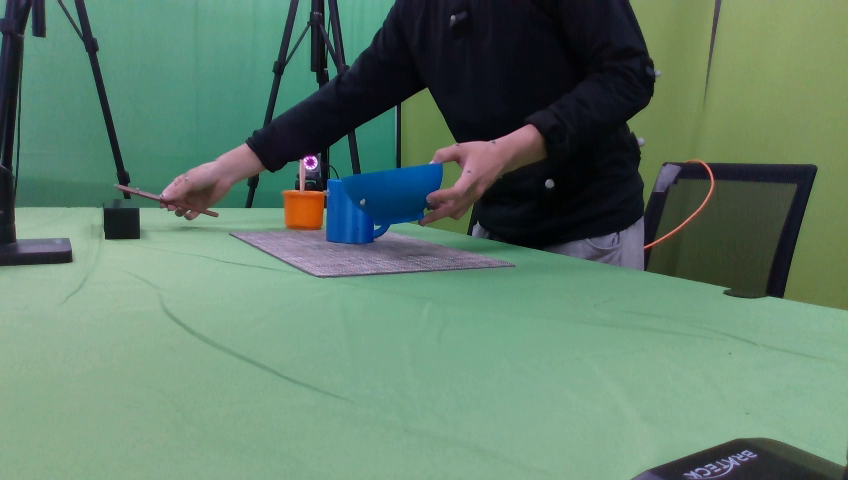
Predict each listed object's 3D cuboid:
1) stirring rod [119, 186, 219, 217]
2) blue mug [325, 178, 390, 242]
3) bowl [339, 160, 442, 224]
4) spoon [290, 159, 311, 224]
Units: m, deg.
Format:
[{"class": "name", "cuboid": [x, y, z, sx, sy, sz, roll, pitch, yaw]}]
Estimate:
[{"class": "stirring rod", "cuboid": [-0.467, -0.071, 1.113, 0.177, 0.006, 0.014, 16, 22, -19]}, {"class": "blue mug", "cuboid": [-0.111, -0.052, 1.034, 0.116, 0.106, 0.082, 3, 7, 7]}, {"class": "bowl", "cuboid": [-0.043, -0.067, 0.879, 0.151, 0.077, 0.151, -8, 6, 1]}, {"class": "spoon", "cuboid": [-0.257, -0.104, 1.266, 0.042, 0.193, 0.021, 0, -37, -9]}]
